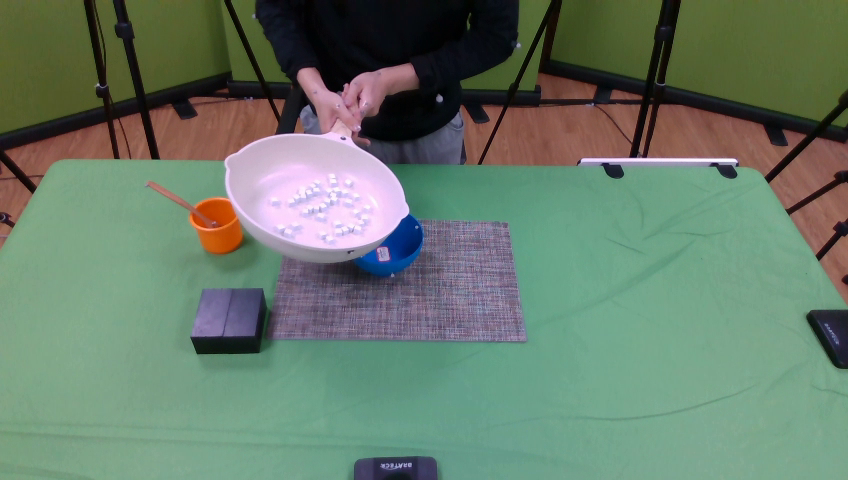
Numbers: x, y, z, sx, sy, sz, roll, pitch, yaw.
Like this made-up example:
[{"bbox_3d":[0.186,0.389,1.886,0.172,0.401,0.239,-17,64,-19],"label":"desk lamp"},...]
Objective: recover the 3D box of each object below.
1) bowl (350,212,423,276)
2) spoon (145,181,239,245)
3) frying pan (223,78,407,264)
[{"bbox_3d":[-0.079,0.014,1.134,0.151,0.077,0.150,2,46,-2],"label":"bowl"},{"bbox_3d":[-0.428,-0.052,1.126,0.021,0.195,0.041,-28,34,33],"label":"spoon"},{"bbox_3d":[-0.168,-0.145,1.080,0.307,0.103,0.485,17,49,-6],"label":"frying pan"}]
